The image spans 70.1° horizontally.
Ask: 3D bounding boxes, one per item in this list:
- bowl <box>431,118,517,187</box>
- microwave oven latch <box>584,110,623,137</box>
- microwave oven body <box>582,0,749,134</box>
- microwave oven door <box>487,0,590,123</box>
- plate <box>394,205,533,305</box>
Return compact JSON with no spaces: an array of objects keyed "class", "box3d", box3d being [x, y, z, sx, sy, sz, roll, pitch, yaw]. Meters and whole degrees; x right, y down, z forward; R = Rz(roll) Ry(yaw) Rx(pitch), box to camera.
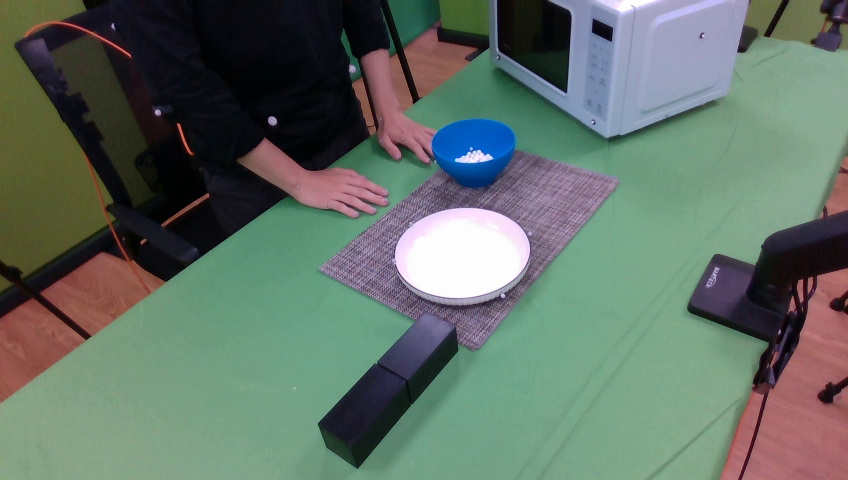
[{"class":"bowl","box3d":[0.090,-0.147,1.080,0.151,0.077,0.150,-4,41,4]},{"class":"microwave oven latch","box3d":[0.337,-0.222,1.142,0.030,0.029,0.078,-21,42,-15]},{"class":"microwave oven body","box3d":[0.382,-0.444,1.246,0.327,0.261,0.437,-22,42,-16]},{"class":"microwave oven door","box3d":[0.232,-0.420,1.231,0.039,0.245,0.352,-22,43,-16]},{"class":"plate","box3d":[0.059,0.025,0.915,0.207,0.039,0.206,-4,41,4]}]
